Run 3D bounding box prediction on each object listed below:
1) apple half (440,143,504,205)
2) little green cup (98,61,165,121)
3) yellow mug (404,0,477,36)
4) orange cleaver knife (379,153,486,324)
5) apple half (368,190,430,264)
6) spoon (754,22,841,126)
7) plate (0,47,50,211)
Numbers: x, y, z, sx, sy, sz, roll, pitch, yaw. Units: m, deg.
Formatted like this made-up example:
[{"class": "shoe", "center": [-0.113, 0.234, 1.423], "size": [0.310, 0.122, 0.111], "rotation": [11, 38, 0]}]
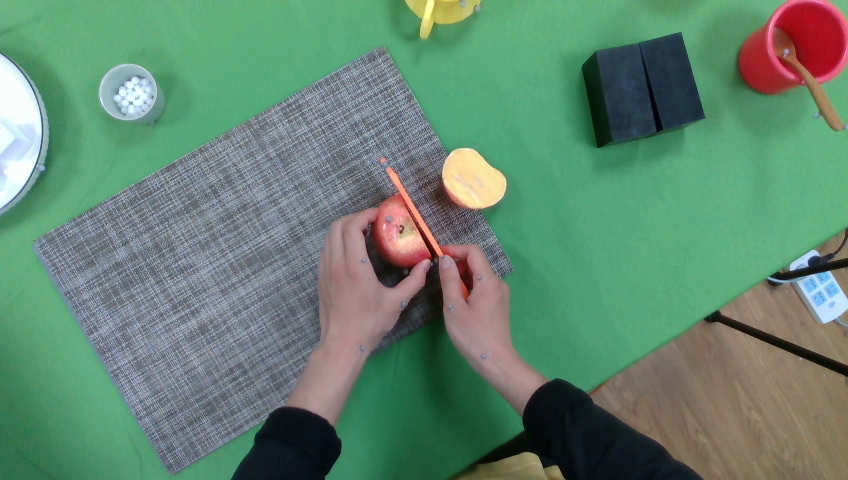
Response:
[{"class": "apple half", "center": [0.047, -0.067, 0.682], "size": [0.082, 0.033, 0.080], "rotation": [11, 59, -19]}, {"class": "little green cup", "center": [-0.319, -0.161, 0.666], "size": [0.061, 0.038, 0.061], "rotation": [0, 89, -3]}, {"class": "yellow mug", "center": [0.016, -0.290, 0.674], "size": [0.100, 0.064, 0.130], "rotation": [18, 89, -3]}, {"class": "orange cleaver knife", "center": [0.009, -0.001, 0.659], "size": [0.012, 0.077, 0.212], "rotation": [-31, 104, 2]}, {"class": "apple half", "center": [-0.033, -0.009, 0.659], "size": [0.053, 0.074, 0.081], "rotation": [-26, 97, 2]}, {"class": "spoon", "center": [0.406, -0.184, 0.657], "size": [0.041, 0.022, 0.192], "rotation": [4, 44, -2]}, {"class": "plate", "center": [-0.508, -0.119, 0.655], "size": [0.208, 0.039, 0.207], "rotation": [0, 89, -3]}]
